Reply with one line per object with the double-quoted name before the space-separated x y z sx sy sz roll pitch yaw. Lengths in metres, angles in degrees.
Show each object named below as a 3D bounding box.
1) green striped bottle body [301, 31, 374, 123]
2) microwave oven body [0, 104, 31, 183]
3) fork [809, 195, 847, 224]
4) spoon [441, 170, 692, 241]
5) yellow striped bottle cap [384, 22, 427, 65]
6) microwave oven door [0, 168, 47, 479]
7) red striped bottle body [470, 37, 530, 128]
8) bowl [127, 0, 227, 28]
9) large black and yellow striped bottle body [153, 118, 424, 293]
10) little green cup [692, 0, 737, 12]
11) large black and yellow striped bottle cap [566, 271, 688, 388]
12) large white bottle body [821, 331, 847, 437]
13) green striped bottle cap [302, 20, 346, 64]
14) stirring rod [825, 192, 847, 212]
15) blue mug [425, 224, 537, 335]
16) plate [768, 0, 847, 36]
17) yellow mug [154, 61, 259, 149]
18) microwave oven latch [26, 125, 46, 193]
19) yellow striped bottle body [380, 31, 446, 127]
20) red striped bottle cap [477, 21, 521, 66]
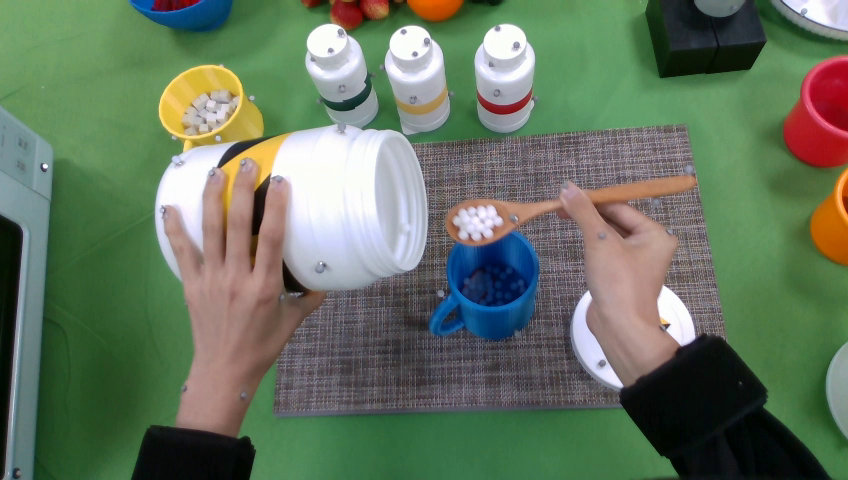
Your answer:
"green striped bottle body" -0.098 -0.188 0.681 0.063 0.120 0.062 -2 69 6
"microwave oven body" -0.591 0.063 0.564 0.326 0.262 0.438 -12 69 2
"fork" 0.442 -0.010 0.533 0.028 0.019 0.205 -31 24 -12
"spoon" 0.107 -0.031 0.476 0.193 0.022 0.041 -11 66 20
"yellow striped bottle cap" -0.019 -0.201 0.620 0.044 0.019 0.044 -1 66 2
"microwave oven door" -0.441 0.070 0.538 0.039 0.245 0.353 -12 68 3
"red striped bottle body" 0.082 -0.179 0.656 0.063 0.120 0.062 -2 68 6
"bowl" -0.306 -0.330 0.782 0.151 0.077 0.150 -2 69 6
"large black and yellow striped bottle body" -0.103 -0.026 0.491 0.183 0.132 0.130 -5 68 19
"little green cup" 0.320 -0.281 0.656 0.061 0.039 0.061 -2 67 5
"large black and yellow striped bottle cap" 0.198 0.086 0.593 0.115 0.019 0.114 -2 68 5
"large white bottle body" 0.420 0.108 0.472 0.130 0.186 0.129 -2 68 6
"green striped bottle cap" -0.105 -0.207 0.633 0.044 0.020 0.044 -2 68 5
"stirring rod" 0.413 -0.010 0.544 0.014 0.006 0.175 0 26 4
"blue mug" 0.050 0.048 0.577 0.116 0.106 0.081 -35 68 -8
"plate" 0.488 -0.319 0.706 0.209 0.038 0.207 -2 70 6
"yellow mug" -0.257 -0.135 0.708 0.100 0.064 0.130 6 71 9
"microwave oven latch" -0.466 -0.093 0.712 0.030 0.030 0.078 -11 69 2
"yellow striped bottle body" -0.011 -0.183 0.668 0.063 0.121 0.062 -2 68 6
"red striped bottle cap" 0.076 -0.198 0.607 0.044 0.018 0.044 -1 67 2
